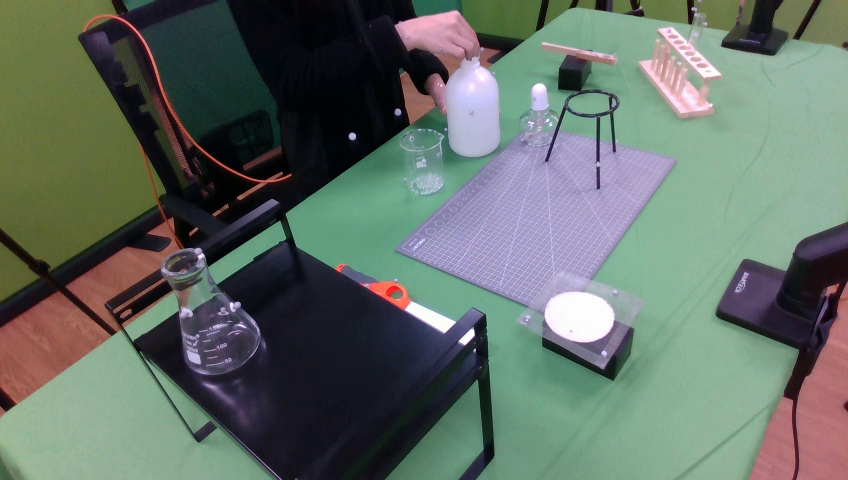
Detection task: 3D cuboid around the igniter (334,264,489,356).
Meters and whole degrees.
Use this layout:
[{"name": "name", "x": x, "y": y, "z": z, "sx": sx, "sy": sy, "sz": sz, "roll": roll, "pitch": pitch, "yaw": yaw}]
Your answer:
[{"name": "igniter", "x": -0.030, "y": 0.095, "z": 0.871, "sx": 0.274, "sy": 0.025, "sz": 0.057, "roll": 22, "pitch": 59, "yaw": 31}]

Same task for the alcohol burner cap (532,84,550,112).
[{"name": "alcohol burner cap", "x": 0.218, "y": -0.269, "z": 1.133, "sx": 0.034, "sy": 0.048, "sz": 0.033, "roll": -9, "pitch": 36, "yaw": 7}]

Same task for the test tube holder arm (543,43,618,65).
[{"name": "test tube holder arm", "x": 0.344, "y": -0.413, "z": 1.340, "sx": 0.177, "sy": 0.015, "sz": 0.013, "roll": 25, "pitch": 50, "yaw": 31}]

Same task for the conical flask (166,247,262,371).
[{"name": "conical flask", "x": -0.208, "y": 0.064, "z": 0.584, "sx": 0.075, "sy": 0.122, "sz": 0.075, "roll": -5, "pitch": 40, "yaw": 4}]

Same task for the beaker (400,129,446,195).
[{"name": "beaker", "x": 0.004, "y": -0.139, "z": 1.087, "sx": 0.084, "sy": 0.101, "sz": 0.073, "roll": -20, "pitch": 42, "yaw": -14}]

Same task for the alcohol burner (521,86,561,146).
[{"name": "alcohol burner", "x": 0.223, "y": -0.241, "z": 1.155, "sx": 0.078, "sy": 0.119, "sz": 0.077, "roll": -5, "pitch": 43, "yaw": 5}]

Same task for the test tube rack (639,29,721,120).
[{"name": "test tube rack", "x": 0.527, "y": -0.351, "z": 1.262, "sx": 0.067, "sy": 0.085, "sz": 0.241, "roll": -8, "pitch": 40, "yaw": 1}]

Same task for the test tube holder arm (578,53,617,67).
[{"name": "test tube holder arm", "x": 0.376, "y": -0.393, "z": 1.314, "sx": 0.087, "sy": 0.015, "sz": 0.010, "roll": 26, "pitch": 50, "yaw": 32}]

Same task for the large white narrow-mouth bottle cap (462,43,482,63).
[{"name": "large white narrow-mouth bottle cap", "x": 0.085, "y": -0.334, "z": 1.080, "sx": 0.038, "sy": 0.024, "sz": 0.037, "roll": -4, "pitch": 40, "yaw": 4}]

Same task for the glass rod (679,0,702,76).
[{"name": "glass rod", "x": 0.543, "y": -0.417, "z": 1.233, "sx": 0.008, "sy": 0.200, "sz": 0.008, "roll": 1, "pitch": 40, "yaw": 0}]

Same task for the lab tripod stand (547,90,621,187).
[{"name": "lab tripod stand", "x": 0.288, "y": -0.184, "z": 1.062, "sx": 0.148, "sy": 0.132, "sz": 0.147, "roll": -6, "pitch": 41, "yaw": 6}]

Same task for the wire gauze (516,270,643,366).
[{"name": "wire gauze", "x": 0.200, "y": 0.093, "z": 0.777, "sx": 0.124, "sy": 0.011, "sz": 0.122, "roll": 23, "pitch": 49, "yaw": 32}]

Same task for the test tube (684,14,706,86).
[{"name": "test tube", "x": 0.540, "y": -0.378, "z": 1.215, "sx": 0.017, "sy": 0.151, "sz": 0.017, "roll": -2, "pitch": 44, "yaw": 3}]

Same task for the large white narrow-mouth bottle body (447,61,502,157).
[{"name": "large white narrow-mouth bottle body", "x": 0.094, "y": -0.261, "z": 1.142, "sx": 0.102, "sy": 0.195, "sz": 0.101, "roll": -4, "pitch": 40, "yaw": 4}]
